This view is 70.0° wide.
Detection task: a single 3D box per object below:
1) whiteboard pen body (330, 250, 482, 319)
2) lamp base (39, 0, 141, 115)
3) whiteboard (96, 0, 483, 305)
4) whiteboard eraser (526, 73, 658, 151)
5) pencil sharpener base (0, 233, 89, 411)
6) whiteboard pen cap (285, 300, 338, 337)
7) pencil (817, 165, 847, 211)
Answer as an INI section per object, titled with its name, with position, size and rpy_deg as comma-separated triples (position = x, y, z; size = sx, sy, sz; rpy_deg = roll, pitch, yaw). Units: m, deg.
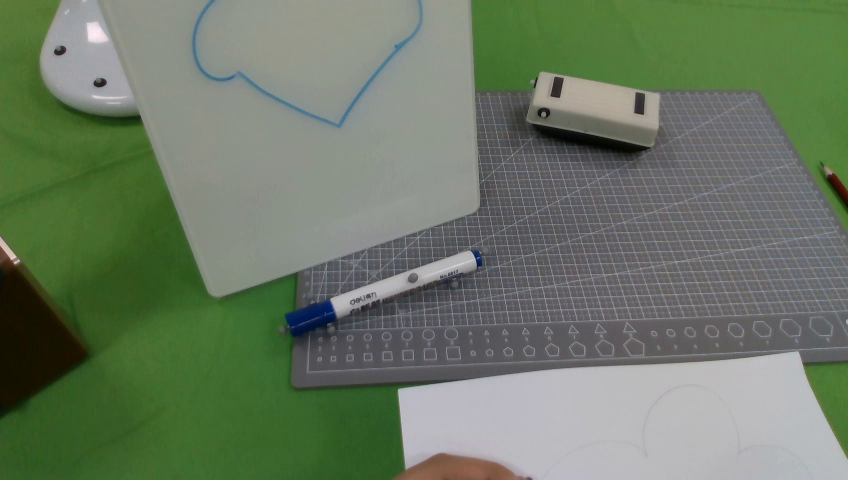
[whiteboard pen body]
position = -0.023, 0.034, 0.428
size = 0.141, 0.017, 0.017
rpy_deg = -19, 56, -17
[lamp base]
position = -0.276, -0.225, 0.510
size = 0.178, 0.182, 0.160
rpy_deg = 31, 56, 21
[whiteboard]
position = -0.092, -0.145, 0.423
size = 0.217, 0.308, 0.142
rpy_deg = -19, 37, -17
[whiteboard eraser]
position = 0.151, -0.114, 0.545
size = 0.112, 0.042, 0.055
rpy_deg = 13, 53, 6
[pencil sharpener base]
position = -0.260, 0.046, 0.351
size = 0.061, 0.108, 0.076
rpy_deg = 38, 59, 22
[whiteboard pen cap]
position = -0.076, 0.053, 0.411
size = 0.033, 0.018, 0.018
rpy_deg = -20, 56, -17
[pencil]
position = 0.376, 0.005, 0.498
size = 0.012, 0.012, 0.192
rpy_deg = -4, 51, -7
